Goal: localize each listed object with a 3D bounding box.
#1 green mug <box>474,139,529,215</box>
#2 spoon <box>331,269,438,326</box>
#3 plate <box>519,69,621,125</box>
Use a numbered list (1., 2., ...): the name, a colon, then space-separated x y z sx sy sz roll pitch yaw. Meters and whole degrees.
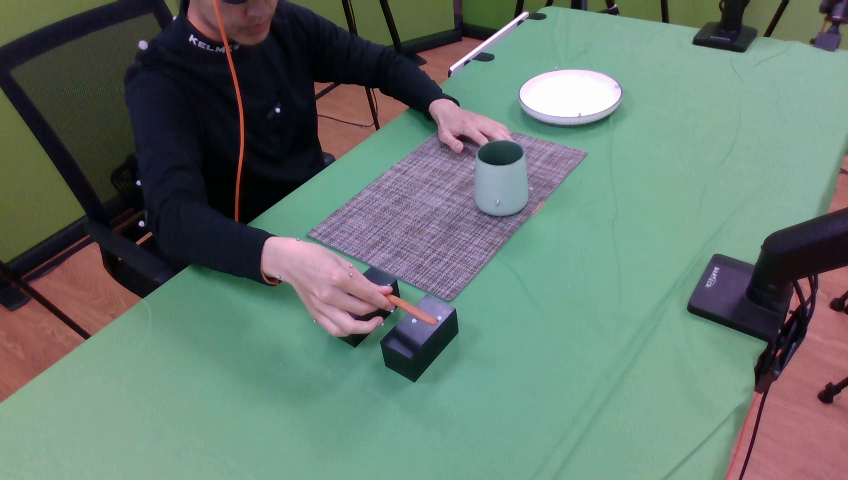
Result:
1. green mug: 0.126 -0.113 1.013 0.092 0.105 0.124 -8 41 0
2. spoon: -0.055 0.074 0.793 0.192 0.022 0.042 18 29 42
3. plate: 0.300 -0.293 1.253 0.209 0.038 0.208 -4 41 4
